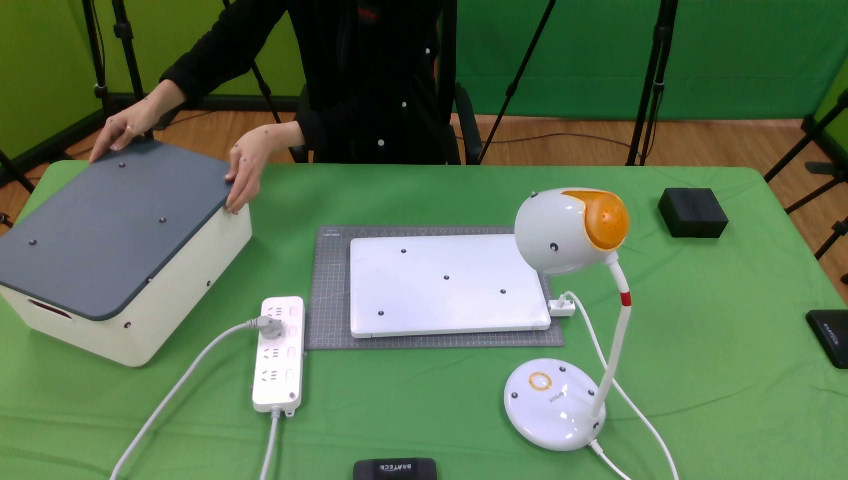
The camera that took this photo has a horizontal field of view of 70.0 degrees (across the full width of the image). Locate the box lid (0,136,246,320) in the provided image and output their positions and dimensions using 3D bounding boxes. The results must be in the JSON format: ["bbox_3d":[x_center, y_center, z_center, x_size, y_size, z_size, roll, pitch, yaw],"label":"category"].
[{"bbox_3d":[-0.494,-0.038,0.985,0.263,0.015,0.370,17,47,13],"label":"box lid"}]

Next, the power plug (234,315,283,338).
[{"bbox_3d":[-0.269,0.143,1.000,0.072,0.053,0.035,4,47,2],"label":"power plug"}]

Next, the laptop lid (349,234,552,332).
[{"bbox_3d":[0.040,0.071,1.117,0.357,0.013,0.240,0,44,-5],"label":"laptop lid"}]

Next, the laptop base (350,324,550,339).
[{"bbox_3d":[0.039,0.081,1.124,0.355,0.023,0.234,-2,43,-6],"label":"laptop base"}]

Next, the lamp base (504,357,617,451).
[{"bbox_3d":[0.220,0.211,0.902,0.160,0.181,0.178,-32,59,-30],"label":"lamp base"}]

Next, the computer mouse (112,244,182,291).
[{"bbox_3d":[-0.493,0.046,1.078,0.117,0.041,0.062,24,42,13],"label":"computer mouse"}]

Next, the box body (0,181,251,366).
[{"bbox_3d":[-0.496,0.013,1.048,0.254,0.161,0.362,17,47,12],"label":"box body"}]

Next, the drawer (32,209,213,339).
[{"bbox_3d":[-0.509,0.054,1.045,0.194,0.073,0.211,15,43,10],"label":"drawer"}]

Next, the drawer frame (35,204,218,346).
[{"bbox_3d":[-0.505,0.054,1.052,0.201,0.083,0.212,14,52,12],"label":"drawer frame"}]

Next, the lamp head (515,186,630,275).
[{"bbox_3d":[0.188,-0.013,0.728,0.112,0.112,0.122,-25,9,-25],"label":"lamp head"}]

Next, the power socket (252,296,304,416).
[{"bbox_3d":[-0.238,0.182,0.997,0.072,0.033,0.225,-3,47,-5],"label":"power socket"}]

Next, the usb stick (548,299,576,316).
[{"bbox_3d":[0.239,0.121,1.083,0.059,0.027,0.021,-1,50,-2],"label":"usb stick"}]
